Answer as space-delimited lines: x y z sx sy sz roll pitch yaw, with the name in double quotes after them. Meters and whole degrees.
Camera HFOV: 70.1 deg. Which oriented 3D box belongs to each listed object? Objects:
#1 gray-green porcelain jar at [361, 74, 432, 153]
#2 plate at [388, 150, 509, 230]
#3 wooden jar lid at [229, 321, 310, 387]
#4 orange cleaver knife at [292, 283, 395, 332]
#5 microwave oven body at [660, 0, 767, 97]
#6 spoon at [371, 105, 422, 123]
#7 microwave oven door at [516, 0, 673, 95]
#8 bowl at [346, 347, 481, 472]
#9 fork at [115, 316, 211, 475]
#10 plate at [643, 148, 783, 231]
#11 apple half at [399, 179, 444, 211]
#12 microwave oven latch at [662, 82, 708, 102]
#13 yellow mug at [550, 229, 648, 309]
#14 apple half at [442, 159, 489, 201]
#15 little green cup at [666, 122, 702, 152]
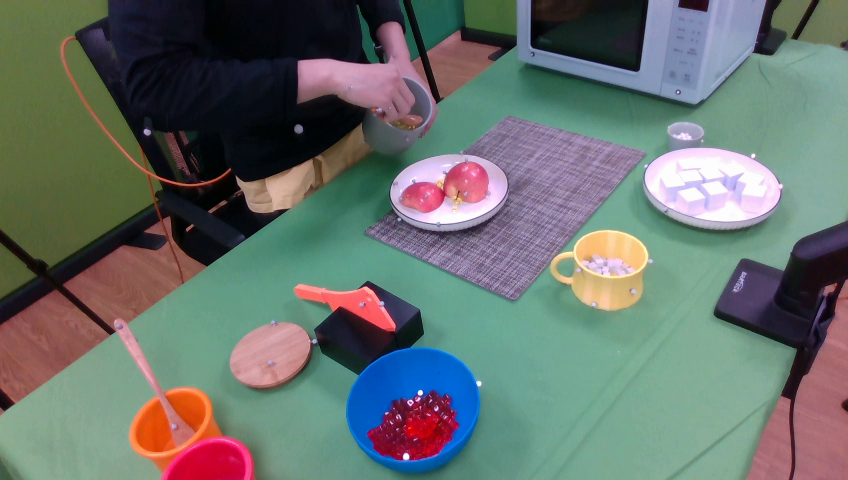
-0.055 -0.222 1.088 0.106 0.126 0.105 5 75 -17 "gray-green porcelain jar"
0.043 -0.083 1.043 0.209 0.038 0.208 -4 40 4 "plate"
-0.207 0.156 0.820 0.108 0.021 0.108 -3 39 3 "wooden jar lid"
-0.115 0.092 0.835 0.209 0.077 0.012 1 32 48 "orange cleaver knife"
0.473 -0.516 1.313 0.438 0.261 0.327 26 51 34 "microwave oven body"
-0.046 -0.204 0.962 0.041 0.021 0.194 14 8 16 "spoon"
0.344 -0.458 1.256 0.353 0.245 0.039 26 51 33 "microwave oven door"
-0.008 0.205 0.691 0.151 0.077 0.150 -4 40 4 "bowl"
-0.309 0.179 0.708 0.028 0.018 0.207 -30 89 -23 "fork"
0.464 -0.080 0.986 0.207 0.039 0.206 -4 41 4 "plate"
-0.004 -0.087 1.045 0.081 0.033 0.081 -2 43 2 "apple half"
0.518 -0.299 1.203 0.078 0.029 0.030 29 53 36 "microwave oven latch"
0.245 0.040 0.857 0.130 0.064 0.099 1 42 11 "yellow mug"
0.074 -0.110 1.047 0.080 0.053 0.075 21 46 30 "apple half"
0.471 -0.184 1.102 0.061 0.039 0.061 -5 41 5 "little green cup"
